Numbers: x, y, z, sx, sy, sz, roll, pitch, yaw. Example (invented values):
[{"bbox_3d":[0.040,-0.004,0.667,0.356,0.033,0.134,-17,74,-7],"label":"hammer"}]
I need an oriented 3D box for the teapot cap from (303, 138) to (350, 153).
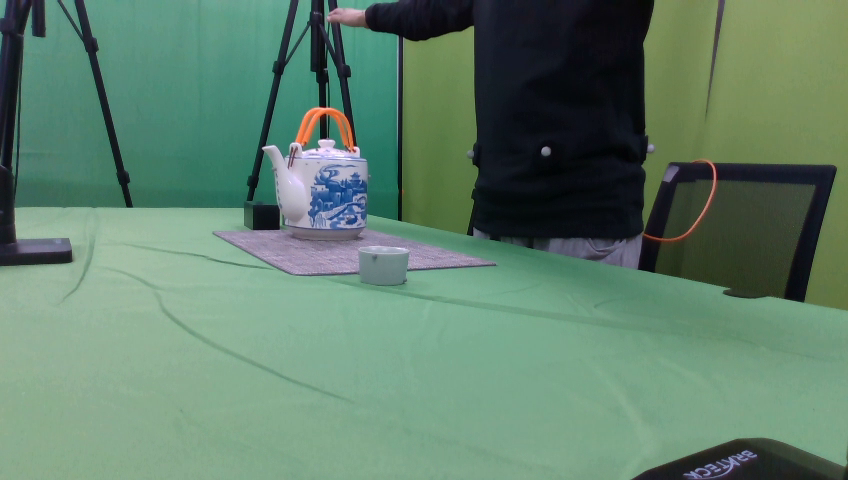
[{"bbox_3d":[-0.172,-0.157,1.061,0.085,0.044,0.085,-1,7,0],"label":"teapot cap"}]

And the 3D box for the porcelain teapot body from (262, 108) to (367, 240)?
[{"bbox_3d":[-0.190,-0.115,1.041,0.144,0.225,0.206,8,10,36],"label":"porcelain teapot body"}]

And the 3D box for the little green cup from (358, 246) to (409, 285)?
[{"bbox_3d":[-0.048,0.030,0.707,0.061,0.038,0.061,2,8,0],"label":"little green cup"}]
